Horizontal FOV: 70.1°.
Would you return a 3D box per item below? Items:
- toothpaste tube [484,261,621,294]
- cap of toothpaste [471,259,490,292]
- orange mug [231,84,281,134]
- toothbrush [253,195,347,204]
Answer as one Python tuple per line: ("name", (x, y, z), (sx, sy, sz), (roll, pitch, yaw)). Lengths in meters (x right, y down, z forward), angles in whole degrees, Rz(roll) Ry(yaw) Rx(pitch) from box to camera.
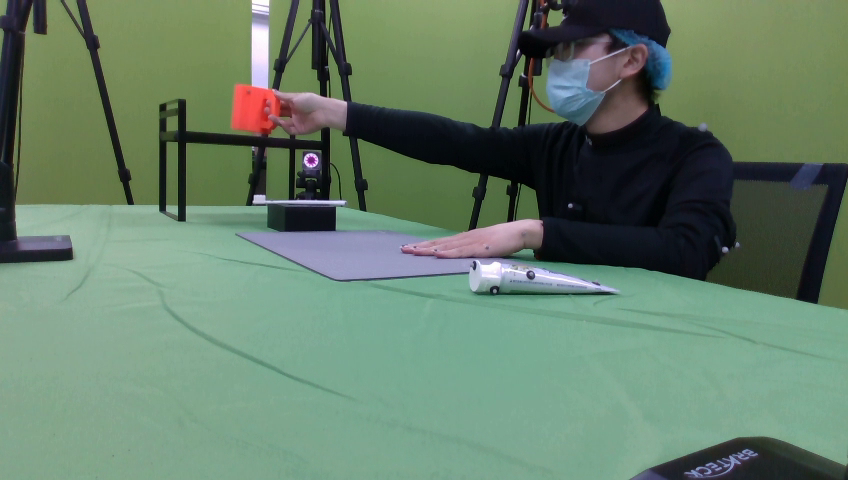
("toothpaste tube", (0.136, 0.045, 0.674), (0.166, 0.034, 0.055), (4, 11, -18))
("cap of toothpaste", (0.061, 0.038, 0.651), (0.011, 0.037, 0.037), (4, 7, -18))
("orange mug", (-0.364, -0.287, 1.329), (0.125, 0.100, 0.084), (7, 6, 35))
("toothbrush", (-0.234, -0.076, 1.154), (0.183, 0.016, 0.014), (-1, 5, -27))
